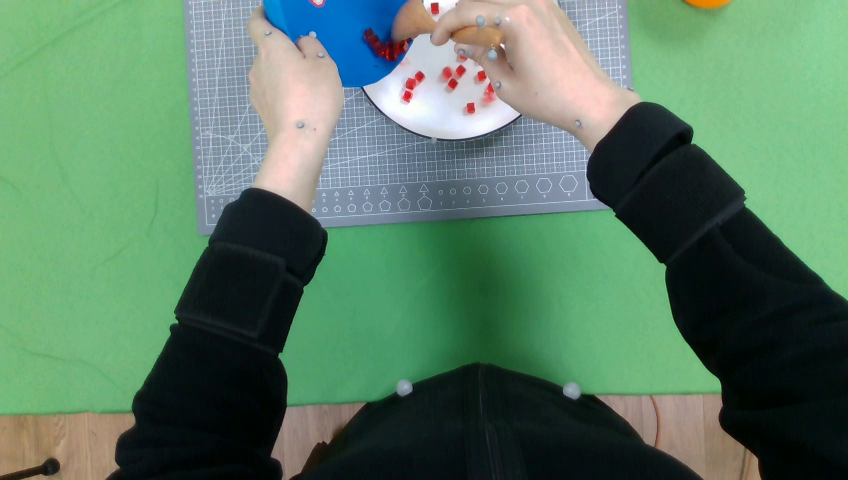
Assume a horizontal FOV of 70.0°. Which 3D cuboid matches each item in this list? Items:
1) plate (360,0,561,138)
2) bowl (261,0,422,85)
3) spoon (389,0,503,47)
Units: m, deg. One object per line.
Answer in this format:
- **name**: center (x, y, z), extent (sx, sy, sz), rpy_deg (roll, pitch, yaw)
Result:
- **plate**: center (0.029, -0.203, 0.597), extent (0.209, 0.038, 0.209), rpy_deg (0, 90, 3)
- **bowl**: center (-0.081, -0.211, 0.503), extent (0.076, 0.153, 0.151), rpy_deg (24, 92, 39)
- **spoon**: center (0.013, -0.162, 0.456), extent (0.022, 0.191, 0.041), rpy_deg (26, 100, -34)
